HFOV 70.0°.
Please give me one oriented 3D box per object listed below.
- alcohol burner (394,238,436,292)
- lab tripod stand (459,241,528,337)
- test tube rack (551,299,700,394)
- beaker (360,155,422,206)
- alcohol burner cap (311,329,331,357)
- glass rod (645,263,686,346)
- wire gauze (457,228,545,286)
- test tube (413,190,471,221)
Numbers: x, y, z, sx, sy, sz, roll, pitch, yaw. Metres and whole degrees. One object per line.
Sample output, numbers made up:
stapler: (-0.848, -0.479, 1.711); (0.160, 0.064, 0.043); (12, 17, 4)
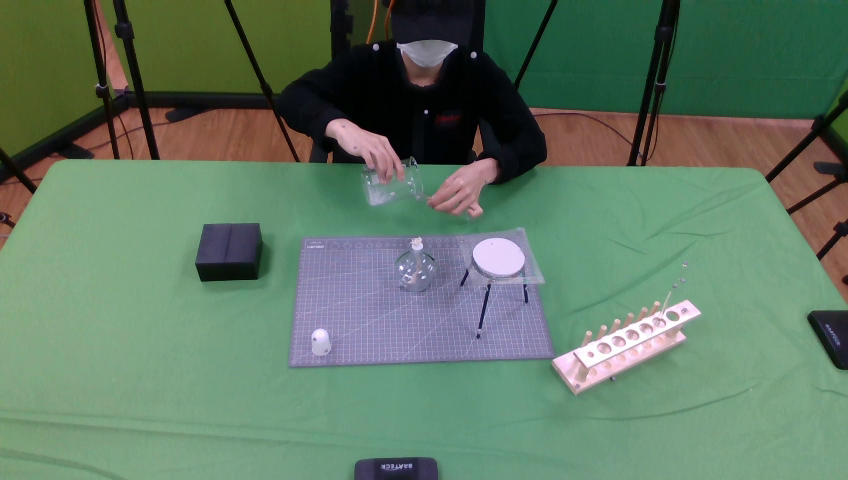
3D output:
alcohol burner: (-0.016, 0.038, 1.093); (0.078, 0.119, 0.077); (2, 48, -2)
lab tripod stand: (0.122, 0.075, 1.054); (0.148, 0.132, 0.147); (3, 44, -3)
test tube rack: (0.339, 0.166, 1.021); (0.242, 0.085, 0.066); (-19, 50, -21)
beaker: (-0.062, -0.104, 1.108); (0.100, 0.084, 0.073); (-15, 43, -11)
alcohol burner cap: (-0.173, 0.168, 1.004); (0.034, 0.048, 0.033); (2, 46, -2)
glass rod: (0.391, 0.110, 0.986); (0.008, 0.201, 0.008); (2, 42, -1)
wire gauze: (0.126, 0.029, 1.006); (0.125, 0.011, 0.120); (-4, 46, -10)
test tube: (0.038, -0.066, 1.188); (0.151, 0.017, 0.017); (22, 33, -38)
